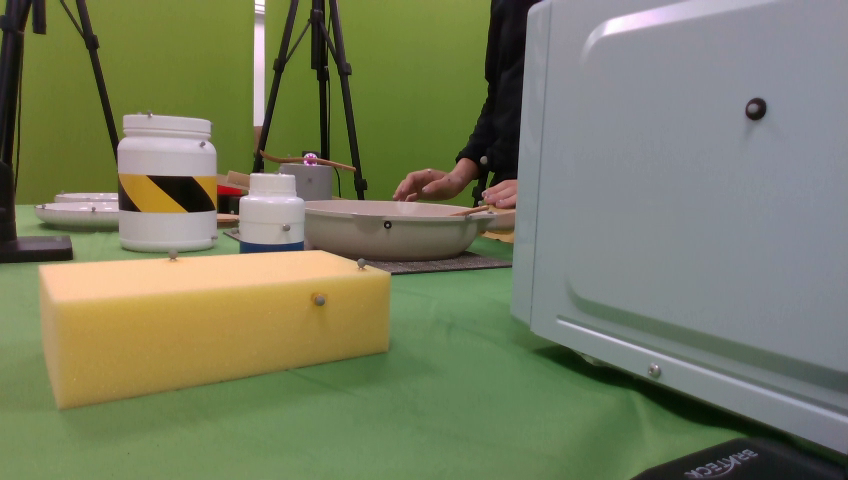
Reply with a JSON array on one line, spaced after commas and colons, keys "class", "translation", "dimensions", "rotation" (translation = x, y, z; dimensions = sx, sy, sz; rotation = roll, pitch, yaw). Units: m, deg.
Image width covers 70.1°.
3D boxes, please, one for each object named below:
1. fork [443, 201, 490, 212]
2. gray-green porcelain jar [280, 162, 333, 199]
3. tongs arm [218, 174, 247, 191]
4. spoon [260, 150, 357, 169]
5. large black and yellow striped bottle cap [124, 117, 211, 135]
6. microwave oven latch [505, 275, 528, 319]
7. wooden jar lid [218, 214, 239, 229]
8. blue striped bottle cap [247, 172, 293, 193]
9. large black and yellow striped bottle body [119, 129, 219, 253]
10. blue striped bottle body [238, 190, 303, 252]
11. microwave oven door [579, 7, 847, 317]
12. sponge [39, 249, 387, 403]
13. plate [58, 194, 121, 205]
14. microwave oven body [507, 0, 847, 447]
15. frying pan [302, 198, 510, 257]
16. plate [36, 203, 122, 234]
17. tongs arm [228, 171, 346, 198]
[{"class": "fork", "translation": [-0.006, -0.020, 0.852], "dimensions": [0.207, 0.018, 0.028], "rotation": [-22, -3, 10]}, {"class": "gray-green porcelain jar", "translation": [-0.238, -0.092, 1.221], "dimensions": [0.106, 0.126, 0.106], "rotation": [2, 7, 0]}, {"class": "tongs arm", "translation": [-0.316, -0.110, 1.448], "dimensions": [0.389, 0.027, 0.028], "rotation": [10, -7, -26]}, {"class": "spoon", "translation": [-0.231, -0.162, 1.221], "dimensions": [0.194, 0.021, 0.041], "rotation": [3, 3, -16]}, {"class": "large black and yellow striped bottle cap", "translation": [-0.366, -0.163, 0.866], "dimensions": [0.115, 0.019, 0.115], "rotation": [3, 7, 0]}, {"class": "microwave oven latch", "translation": [0.100, 0.042, 0.471], "dimensions": [0.079, 0.029, 0.030], "rotation": [-1, 7, -28]}, {"class": "wooden jar lid", "translation": [-0.404, -0.037, 1.169], "dimensions": [0.108, 0.020, 0.108], "rotation": [3, 7, 0]}, {"class": "blue striped bottle cap", "translation": [-0.152, -0.057, 0.598], "dimensions": [0.044, 0.020, 0.044], "rotation": [3, 7, 0]}, {"class": "large black and yellow striped bottle body", "translation": [-0.367, -0.080, 0.876], "dimensions": [0.131, 0.184, 0.130], "rotation": [2, 7, 0]}, {"class": "blue striped bottle body", "translation": [-0.153, -0.007, 0.606], "dimensions": [0.063, 0.120, 0.063], "rotation": [2, 7, 0]}, {"class": "microwave oven door", "translation": [0.294, -0.067, 0.570], "dimensions": [0.358, 0.243, 0.039], "rotation": [-3, 9, -31]}, {"class": "sponge", "translation": [-0.142, 0.047, 0.420], "dimensions": [0.208, 0.061, 0.117], "rotation": [-3, 8, -36]}, {"class": "plate", "translation": [-0.671, -0.074, 1.310], "dimensions": [0.209, 0.038, 0.209], "rotation": [2, 8, 0]}, {"class": "microwave oven body", "translation": [0.331, -0.042, 0.425], "dimensions": [0.444, 0.260, 0.324], "rotation": [-2, 8, -31]}, {"class": "frying pan", "translation": [0.050, -0.035, 0.915], "dimensions": [0.487, 0.102, 0.307], "rotation": [-5, 7, 10]}, {"class": "plate", "translation": [-0.571, -0.040, 1.083], "dimensions": [0.208, 0.039, 0.207], "rotation": [2, 8, 0]}, {"class": "tongs arm", "translation": [-0.268, -0.103, 1.378], "dimensions": [0.387, 0.026, 0.050], "rotation": [11, -4, -40]}]
